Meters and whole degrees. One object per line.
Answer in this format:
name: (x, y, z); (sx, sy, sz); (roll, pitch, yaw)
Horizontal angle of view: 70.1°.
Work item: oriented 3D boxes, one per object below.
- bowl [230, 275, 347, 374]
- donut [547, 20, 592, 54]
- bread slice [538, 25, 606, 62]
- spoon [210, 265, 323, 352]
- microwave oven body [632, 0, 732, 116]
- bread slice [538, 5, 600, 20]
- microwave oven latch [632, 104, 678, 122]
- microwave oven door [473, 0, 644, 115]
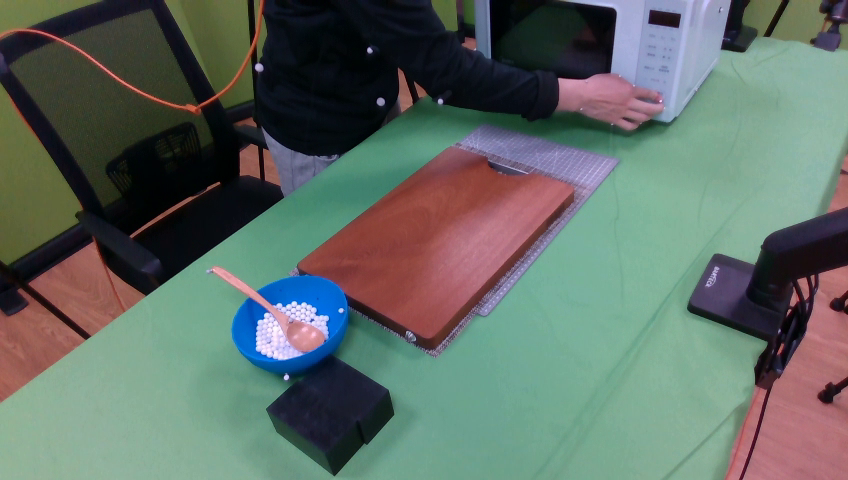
bowl: (-0.170, 0.125, 0.802); (0.151, 0.077, 0.150); (-4, 40, 4)
donut: (0.313, -0.439, 1.300); (0.099, 0.048, 0.098); (-20, 35, 15)
bread slice: (0.333, -0.439, 1.338); (0.132, 0.019, 0.104); (-36, 43, -21)
spoon: (-0.213, 0.087, 0.806); (0.193, 0.021, 0.042); (37, 57, 12)
microwave oven body: (0.377, -0.463, 1.267); (0.438, 0.261, 0.327); (21, 49, 30)
bread slice: (0.310, -0.482, 1.278); (0.106, 0.018, 0.135); (13, 30, 25)
microwave oven latch: (0.441, -0.248, 1.157); (0.078, 0.029, 0.030); (16, 46, 26)
microwave oven door: (0.258, -0.396, 1.200); (0.353, 0.245, 0.039); (21, 48, 29)
